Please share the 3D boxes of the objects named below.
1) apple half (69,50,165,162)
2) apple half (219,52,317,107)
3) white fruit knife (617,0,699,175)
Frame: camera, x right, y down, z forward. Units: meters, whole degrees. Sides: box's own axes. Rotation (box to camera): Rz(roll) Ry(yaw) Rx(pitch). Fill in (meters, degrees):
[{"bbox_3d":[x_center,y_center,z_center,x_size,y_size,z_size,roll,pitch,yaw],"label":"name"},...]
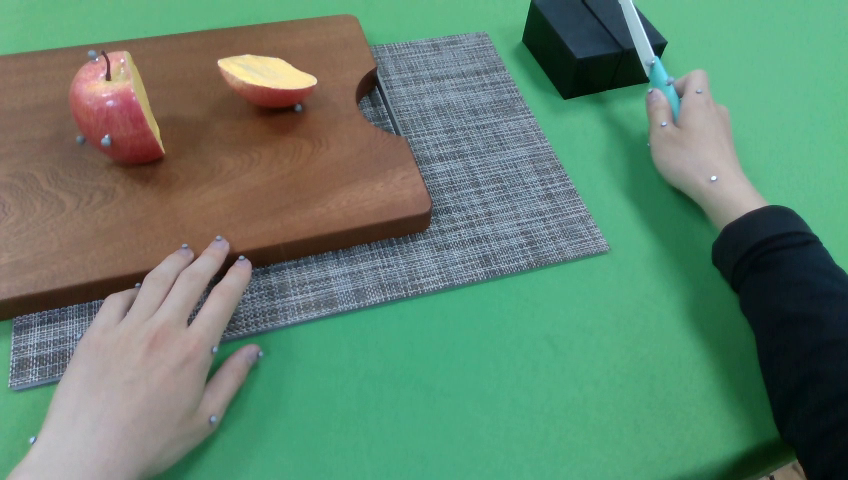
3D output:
[{"bbox_3d":[-0.238,-0.098,0.465,0.053,0.075,0.080,-20,63,-14],"label":"apple half"},{"bbox_3d":[-0.136,-0.132,0.518,0.081,0.033,0.080,13,32,-8],"label":"apple half"},{"bbox_3d":[0.211,-0.160,0.564,0.016,0.027,0.206,-17,81,-12],"label":"white fruit knife"}]
